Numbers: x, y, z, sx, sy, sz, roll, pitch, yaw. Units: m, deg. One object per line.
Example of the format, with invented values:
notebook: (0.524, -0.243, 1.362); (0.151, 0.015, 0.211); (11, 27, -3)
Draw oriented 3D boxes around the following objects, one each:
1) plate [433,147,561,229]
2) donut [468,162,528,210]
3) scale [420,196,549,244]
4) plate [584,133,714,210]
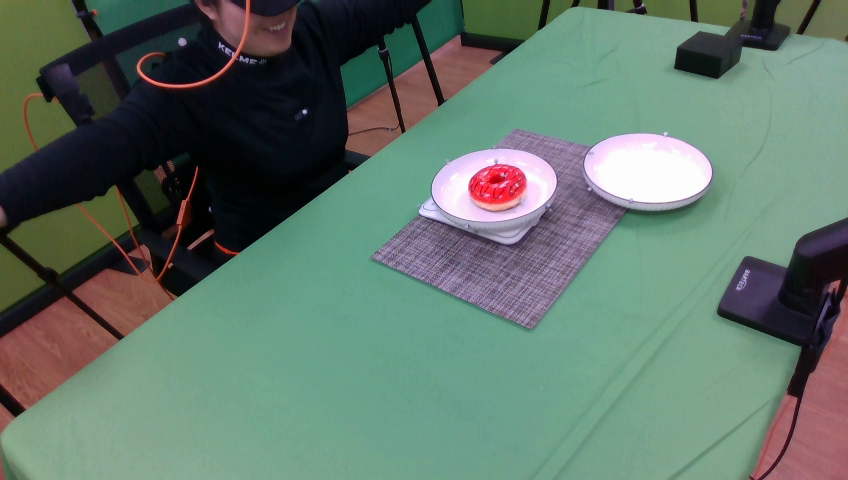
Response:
plate: (0.120, -0.082, 0.996); (0.207, 0.039, 0.206); (-6, 40, 5)
donut: (0.121, -0.088, 0.985); (0.099, 0.048, 0.098); (-7, 42, 7)
scale: (0.106, -0.065, 1.029); (0.199, 0.032, 0.149); (21, 48, 32)
plate: (0.379, -0.113, 1.030); (0.209, 0.038, 0.208); (-4, 41, 4)
